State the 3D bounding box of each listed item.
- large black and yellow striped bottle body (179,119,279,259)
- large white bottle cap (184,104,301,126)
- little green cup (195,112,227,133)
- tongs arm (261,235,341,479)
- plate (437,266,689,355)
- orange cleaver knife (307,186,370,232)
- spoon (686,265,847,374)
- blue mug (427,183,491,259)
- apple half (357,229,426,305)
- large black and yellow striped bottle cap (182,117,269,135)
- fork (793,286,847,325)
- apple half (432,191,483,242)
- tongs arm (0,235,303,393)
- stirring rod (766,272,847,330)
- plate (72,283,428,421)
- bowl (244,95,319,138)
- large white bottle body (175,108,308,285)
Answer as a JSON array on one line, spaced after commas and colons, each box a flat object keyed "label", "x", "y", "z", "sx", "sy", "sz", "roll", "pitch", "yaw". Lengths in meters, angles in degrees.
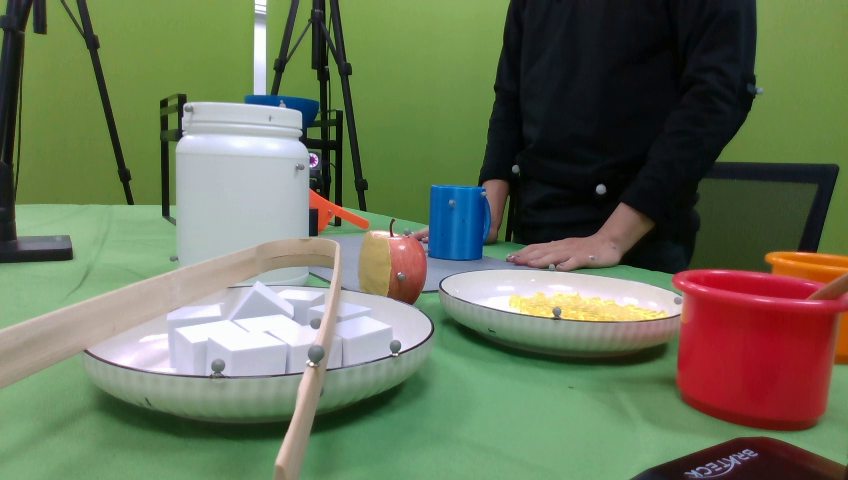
[{"label": "large black and yellow striped bottle body", "x": -0.271, "y": -0.074, "z": 0.846, "sx": 0.131, "sy": 0.184, "sz": 0.130, "roll": 0, "pitch": 9, "yaw": 0}, {"label": "large white bottle cap", "x": -0.184, "y": -0.126, "z": 0.618, "sx": 0.115, "sy": 0.018, "sz": 0.115, "roll": 2, "pitch": 8, "yaw": 0}, {"label": "little green cup", "x": -0.412, "y": -0.227, "z": 1.171, "sx": 0.061, "sy": 0.038, "sz": 0.061, "roll": 3, "pitch": 8, "yaw": 0}, {"label": "tongs arm", "x": -0.073, "y": 0.039, "z": 0.349, "sx": 0.051, "sy": 0.026, "sz": 0.384, "roll": -1, "pitch": 10, "yaw": -3}, {"label": "plate", "x": 0.114, "y": 0.057, "z": 0.517, "sx": 0.209, "sy": 0.038, "sz": 0.209, "roll": 3, "pitch": 7, "yaw": 0}, {"label": "orange cleaver knife", "x": -0.197, "y": -0.056, "z": 1.140, "sx": 0.212, "sy": 0.077, "sz": 0.012, "roll": 29, "pitch": 0, "yaw": -34}, {"label": "spoon", "x": 0.214, "y": 0.032, "z": 0.327, "sx": 0.042, "sy": 0.021, "sz": 0.193, "roll": -3, "pitch": -35, "yaw": -26}, {"label": "blue mug", "x": 0.060, "y": -0.031, "z": 0.905, "sx": 0.117, "sy": 0.106, "sz": 0.082, "roll": -4, "pitch": 10, "yaw": -42}, {"label": "apple half", "x": -0.026, "y": 0.028, "z": 0.570, "sx": 0.053, "sy": 0.074, "sz": 0.080, "roll": 3, "pitch": 2, "yaw": -28}, {"label": "large black and yellow striped bottle cap", "x": -0.272, "y": -0.156, "z": 0.833, "sx": 0.115, "sy": 0.019, "sz": 0.115, "roll": 1, "pitch": 7, "yaw": 0}, {"label": "fork", "x": 0.332, "y": 0.019, "z": 0.443, "sx": 0.028, "sy": 0.018, "sz": 0.207, "roll": -3, "pitch": -35, "yaw": -16}, {"label": "apple half", "x": 0.049, "y": -0.037, "z": 0.904, "sx": 0.081, "sy": 0.081, "sz": 0.033, "roll": 3, "pitch": 14, "yaw": 3}, {"label": "tongs arm", "x": -0.157, "y": 0.037, "z": 0.351, "sx": 0.028, "sy": 0.028, "sz": 0.388, "roll": -3, "pitch": 8, "yaw": 12}, {"label": "stirring rod", "x": 0.352, "y": 0.020, "z": 0.481, "sx": 0.176, "sy": 0.006, "sz": 0.014, "roll": -40, "pitch": -9, "yaw": 17}, {"label": "plate", "x": -0.102, "y": 0.067, "z": 0.381, "sx": 0.208, "sy": 0.039, "sz": 0.207, "roll": 2, "pitch": 7, "yaw": 0}, {"label": "bowl", "x": -0.293, "y": -0.251, "z": 1.249, "sx": 0.151, "sy": 0.077, "sz": 0.151, "roll": 2, "pitch": 7, "yaw": 0}, {"label": "large white bottle body", "x": -0.188, "y": -0.042, "z": 0.630, "sx": 0.131, "sy": 0.184, "sz": 0.130, "roll": 2, "pitch": 8, "yaw": 0}]
